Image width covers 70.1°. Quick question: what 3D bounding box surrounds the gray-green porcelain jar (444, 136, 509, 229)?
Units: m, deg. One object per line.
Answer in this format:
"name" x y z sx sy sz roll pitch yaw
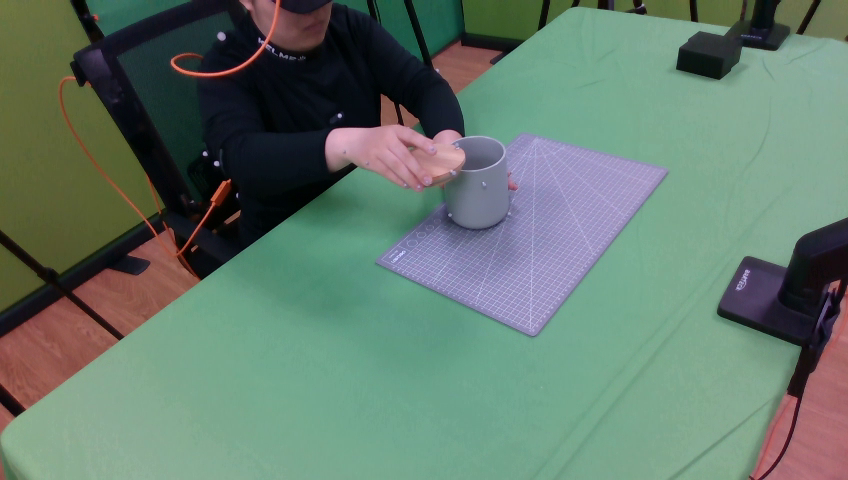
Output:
"gray-green porcelain jar" 0.086 -0.090 0.988 0.106 0.127 0.105 -5 40 5

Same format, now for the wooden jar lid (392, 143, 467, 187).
"wooden jar lid" 0.009 -0.107 0.869 0.108 0.021 0.108 -7 34 5
